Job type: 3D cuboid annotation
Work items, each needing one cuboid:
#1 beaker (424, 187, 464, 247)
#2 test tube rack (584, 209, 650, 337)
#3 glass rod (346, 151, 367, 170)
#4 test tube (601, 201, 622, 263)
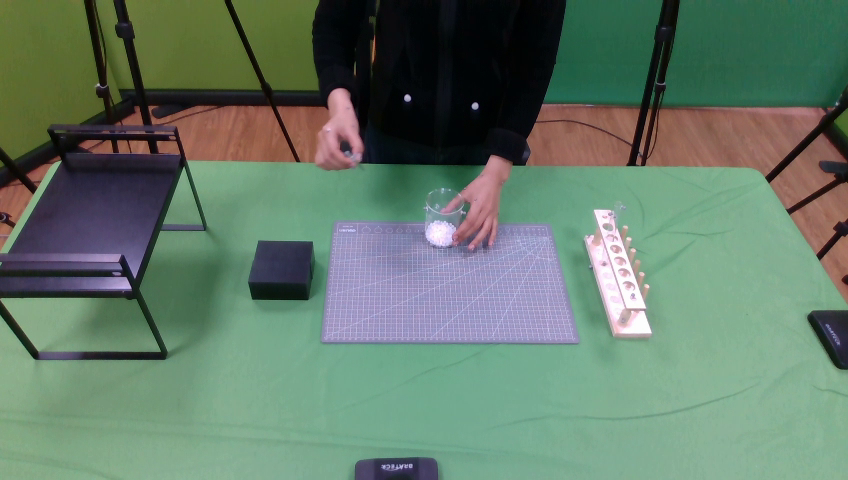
[{"bbox_3d":[0.036,-0.043,1.185,0.074,0.101,0.083,-3,46,-7],"label":"beaker"},{"bbox_3d":[0.365,0.056,1.129,0.067,0.085,0.240,1,46,-4],"label":"test tube rack"},{"bbox_3d":[-0.118,-0.140,1.079,0.008,0.200,0.008,0,89,3],"label":"glass rod"},{"bbox_3d":[0.346,-0.012,1.123,0.017,0.151,0.017,-2,44,2],"label":"test tube"}]
